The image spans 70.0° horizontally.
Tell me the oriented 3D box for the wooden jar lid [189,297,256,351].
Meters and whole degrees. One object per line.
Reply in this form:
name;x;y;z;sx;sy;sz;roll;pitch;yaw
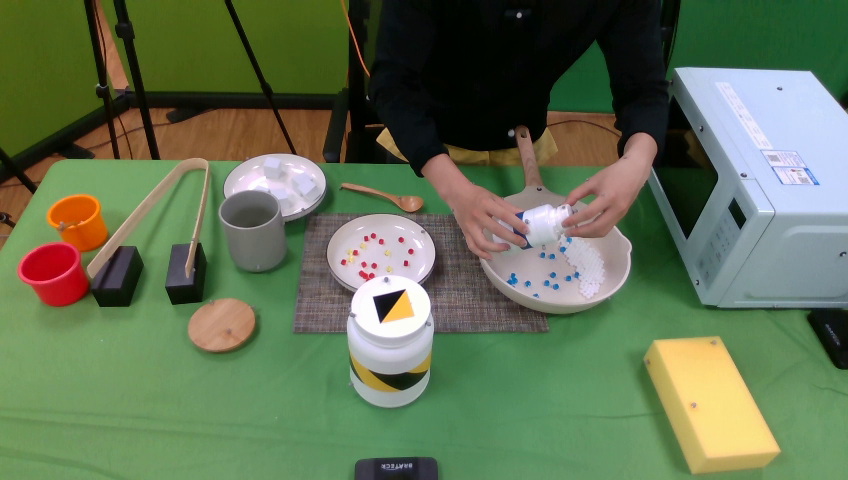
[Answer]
wooden jar lid;-0.342;0.145;1.033;0.108;0.021;0.107;2;45;-2

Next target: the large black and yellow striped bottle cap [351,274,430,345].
large black and yellow striped bottle cap;-0.048;0.097;0.867;0.115;0.019;0.114;2;48;-3

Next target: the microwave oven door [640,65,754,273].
microwave oven door;0.523;-0.148;1.193;0.039;0.245;0.353;0;47;-3

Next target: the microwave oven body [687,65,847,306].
microwave oven body;0.669;-0.111;1.176;0.326;0.261;0.439;0;46;-3

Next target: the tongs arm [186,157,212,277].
tongs arm;-0.445;-0.058;1.169;0.051;0.026;0.382;-4;37;-6

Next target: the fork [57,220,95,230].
fork;-0.624;-0.027;1.087;0.028;0.207;0.018;-3;92;-17

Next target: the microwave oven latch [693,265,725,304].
microwave oven latch;0.523;0.081;1.116;0.030;0.029;0.078;2;46;-1

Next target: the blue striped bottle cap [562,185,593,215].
blue striped bottle cap;0.235;-0.062;0.931;0.045;0.020;0.044;3;79;-18

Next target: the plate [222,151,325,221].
plate;-0.310;-0.106;1.263;0.208;0.039;0.206;2;47;-2

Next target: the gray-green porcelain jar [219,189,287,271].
gray-green porcelain jar;-0.309;-0.014;1.113;0.106;0.127;0.105;2;46;-2

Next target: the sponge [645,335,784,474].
sponge;0.449;0.253;0.956;0.118;0.061;0.205;-4;46;-7

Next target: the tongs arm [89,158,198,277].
tongs arm;-0.529;-0.058;1.163;0.028;0.028;0.385;1;36;7

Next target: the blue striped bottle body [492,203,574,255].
blue striped bottle body;0.175;-0.020;0.966;0.121;0.063;0.062;-16;40;27

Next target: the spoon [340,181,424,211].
spoon;-0.090;-0.100;1.282;0.193;0.022;0.041;18;64;13

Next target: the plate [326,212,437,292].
plate;-0.080;0.030;1.144;0.209;0.038;0.208;2;46;-2

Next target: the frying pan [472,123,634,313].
frying pan;0.236;-0.060;1.207;0.307;0.103;0.484;2;55;-5

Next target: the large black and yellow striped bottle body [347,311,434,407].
large black and yellow striped bottle body;-0.052;0.157;0.929;0.131;0.185;0.130;2;47;-2
